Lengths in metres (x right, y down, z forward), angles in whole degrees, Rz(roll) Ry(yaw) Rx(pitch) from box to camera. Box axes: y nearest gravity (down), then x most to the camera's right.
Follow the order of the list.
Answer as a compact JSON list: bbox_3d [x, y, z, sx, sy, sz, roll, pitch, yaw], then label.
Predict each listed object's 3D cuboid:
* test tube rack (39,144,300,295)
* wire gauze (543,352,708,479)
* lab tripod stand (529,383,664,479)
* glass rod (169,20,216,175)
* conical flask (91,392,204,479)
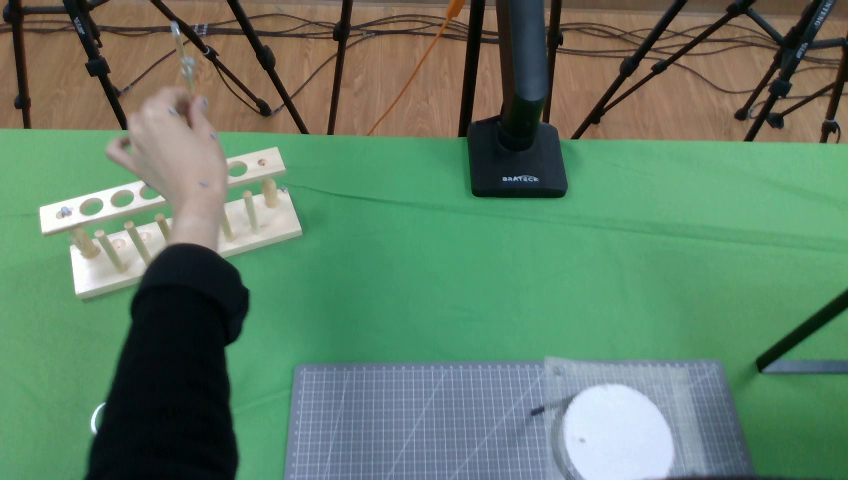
[{"bbox_3d":[-0.266,-0.023,0.659,0.243,0.086,0.066,-17,60,-14],"label":"test tube rack"},{"bbox_3d":[0.153,0.147,0.467,0.121,0.011,0.124,5,58,-2],"label":"wire gauze"},{"bbox_3d":[0.142,0.187,0.522,0.148,0.132,0.147,3,56,-3],"label":"lab tripod stand"},{"bbox_3d":[-0.214,-0.123,0.570,0.008,0.201,0.008,4,58,-6],"label":"glass rod"},{"bbox_3d":[-0.241,0.167,0.520,0.075,0.123,0.074,2,57,-2],"label":"conical flask"}]
